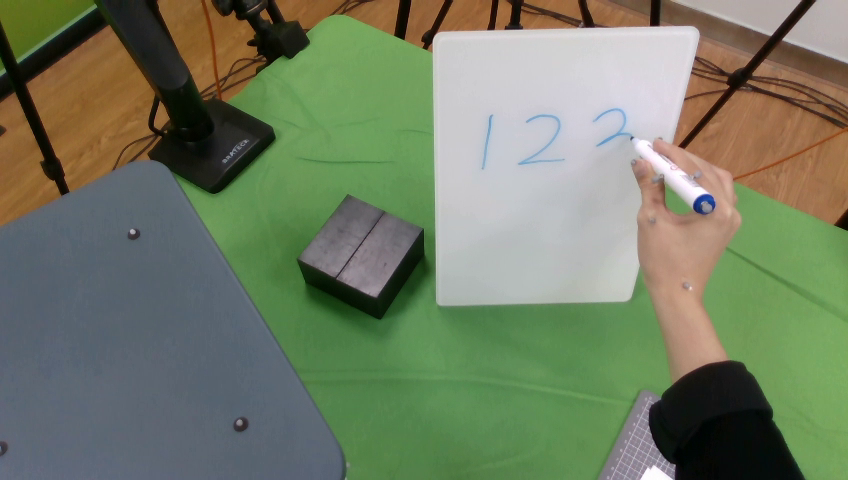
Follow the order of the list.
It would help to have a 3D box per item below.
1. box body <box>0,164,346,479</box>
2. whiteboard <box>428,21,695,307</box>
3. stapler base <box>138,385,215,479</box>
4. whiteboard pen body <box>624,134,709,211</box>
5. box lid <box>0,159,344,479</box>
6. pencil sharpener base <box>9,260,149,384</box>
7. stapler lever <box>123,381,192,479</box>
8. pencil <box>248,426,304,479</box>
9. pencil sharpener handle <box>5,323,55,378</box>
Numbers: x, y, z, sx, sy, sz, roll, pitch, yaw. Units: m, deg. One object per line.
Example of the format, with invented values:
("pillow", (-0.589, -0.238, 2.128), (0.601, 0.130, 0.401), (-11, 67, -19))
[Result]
("box body", (-0.256, 0.144, 0.528), (0.254, 0.162, 0.360), (-32, 63, -18))
("whiteboard", (0.113, -0.091, 0.629), (0.217, 0.308, 0.142), (-1, 38, 0))
("stapler base", (-0.239, 0.196, 0.566), (0.041, 0.025, 0.129), (1, 60, 23))
("whiteboard pen body", (0.188, -0.060, 0.485), (0.017, 0.017, 0.139), (-6, 30, -3))
("box lid", (-0.258, 0.103, 0.466), (0.263, 0.015, 0.368), (-31, 64, -18))
("pencil sharpener base", (-0.334, 0.084, 0.591), (0.076, 0.108, 0.061), (-39, 64, -20))
("stapler lever", (-0.246, 0.185, 0.546), (0.026, 0.040, 0.117), (1, 58, 23))
("pencil", (-0.178, 0.242, 0.547), (0.012, 0.012, 0.193), (32, 52, 19))
("pencil sharpener handle", (-0.372, 0.107, 0.563), (0.030, 0.068, 0.035), (-39, 65, -20))
